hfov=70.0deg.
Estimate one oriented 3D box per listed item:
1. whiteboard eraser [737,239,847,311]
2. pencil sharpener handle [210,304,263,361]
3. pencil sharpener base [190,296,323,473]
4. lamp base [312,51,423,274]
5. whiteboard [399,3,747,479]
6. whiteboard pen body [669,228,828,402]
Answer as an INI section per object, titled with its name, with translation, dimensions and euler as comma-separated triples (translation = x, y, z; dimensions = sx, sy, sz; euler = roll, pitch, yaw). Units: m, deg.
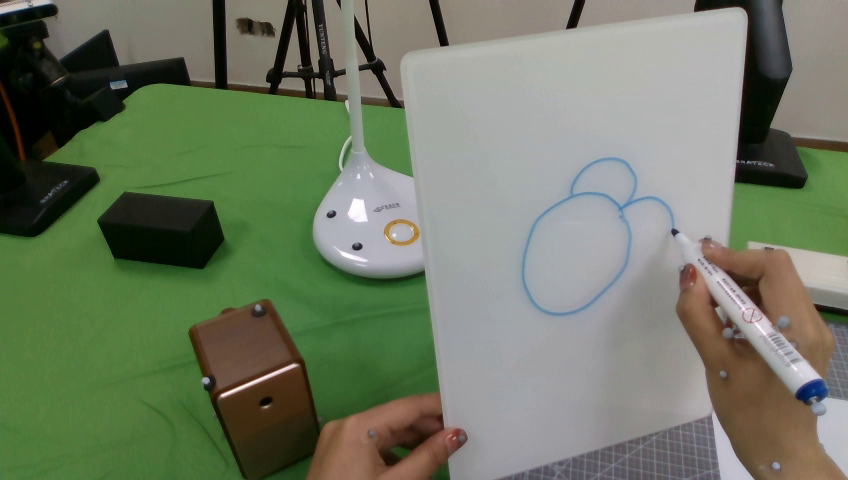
[whiteboard eraser]
translation = 0.356, 0.035, 0.567
dimensions = 0.112, 0.042, 0.055
euler = 9, 40, 13
[pencil sharpener handle]
translation = -0.145, 0.067, 0.470
dimensions = 0.036, 0.068, 0.030
euler = -28, 46, -15
[pencil sharpener base]
translation = -0.121, 0.105, 0.444
dimensions = 0.061, 0.108, 0.076
euler = -21, 44, -21
[lamp base]
translation = -0.048, -0.084, 0.608
dimensions = 0.161, 0.182, 0.177
euler = -25, 44, -25
[whiteboard]
translation = 0.092, -0.002, 0.456
dimensions = 0.217, 0.307, 0.142
euler = -11, 22, -11
[whiteboard pen body]
translation = 0.178, 0.034, 0.349
dimensions = 0.017, 0.017, 0.139
euler = -9, 39, -9
